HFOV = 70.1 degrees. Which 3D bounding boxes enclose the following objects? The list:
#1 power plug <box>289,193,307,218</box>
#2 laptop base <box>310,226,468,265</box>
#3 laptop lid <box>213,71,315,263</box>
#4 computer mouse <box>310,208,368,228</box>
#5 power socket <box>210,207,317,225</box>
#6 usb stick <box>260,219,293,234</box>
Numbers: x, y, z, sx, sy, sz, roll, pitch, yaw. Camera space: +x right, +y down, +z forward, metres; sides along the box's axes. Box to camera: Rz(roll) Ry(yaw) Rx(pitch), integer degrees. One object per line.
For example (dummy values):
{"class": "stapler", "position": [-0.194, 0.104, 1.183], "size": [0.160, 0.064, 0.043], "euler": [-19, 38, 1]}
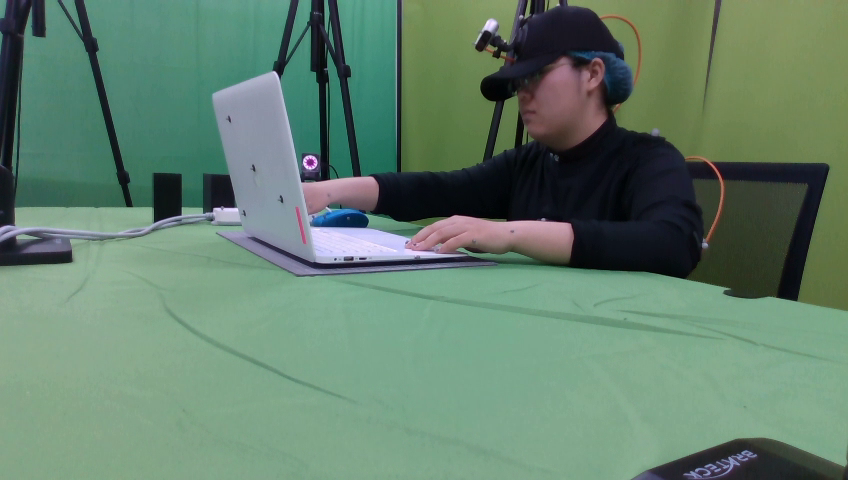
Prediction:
{"class": "power plug", "position": [-0.281, -0.076, 1.340], "size": [0.035, 0.052, 0.072], "euler": [3, 6, -17]}
{"class": "laptop base", "position": [-0.122, 0.007, 0.953], "size": [0.237, 0.023, 0.352], "euler": [2, 6, -31]}
{"class": "laptop lid", "position": [-0.241, -0.104, 0.865], "size": [0.013, 0.241, 0.355], "euler": [-16, 17, -28]}
{"class": "computer mouse", "position": [-0.179, -0.045, 1.275], "size": [0.118, 0.041, 0.062], "euler": [-5, 11, -29]}
{"class": "power socket", "position": [-0.334, -0.051, 1.282], "size": [0.228, 0.032, 0.072], "euler": [-1, 9, -28]}
{"class": "usb stick", "position": [-0.271, -0.025, 1.107], "size": [0.059, 0.027, 0.021], "euler": [-6, 6, -24]}
